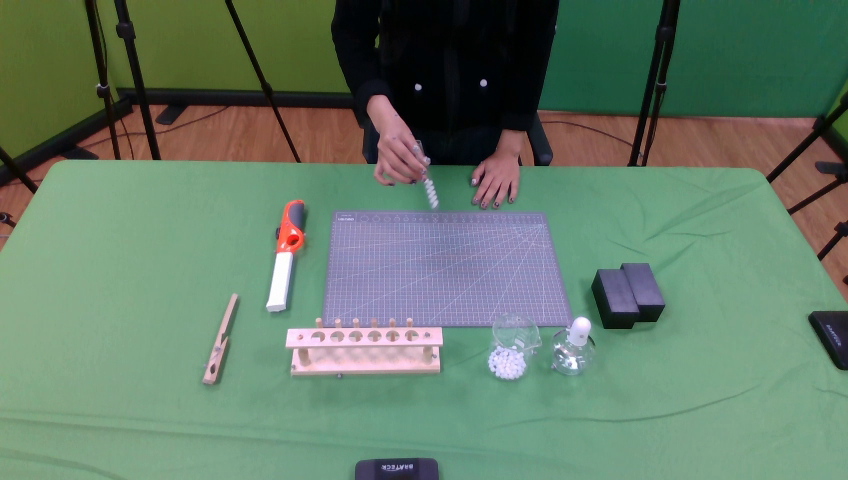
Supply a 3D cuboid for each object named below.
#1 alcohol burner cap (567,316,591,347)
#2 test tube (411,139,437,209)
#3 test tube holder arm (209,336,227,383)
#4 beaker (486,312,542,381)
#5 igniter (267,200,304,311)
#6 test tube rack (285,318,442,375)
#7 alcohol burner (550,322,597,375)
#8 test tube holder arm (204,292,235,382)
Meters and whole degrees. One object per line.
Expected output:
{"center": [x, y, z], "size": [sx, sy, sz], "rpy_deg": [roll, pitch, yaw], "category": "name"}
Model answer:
{"center": [0.249, 0.143, 0.965], "size": [0.034, 0.048, 0.033], "rpy_deg": [4, 40, -3], "category": "alcohol burner cap"}
{"center": [0.002, -0.114, 1.077], "size": [0.017, 0.151, 0.017], "rpy_deg": [-10, 41, 9], "category": "test tube"}
{"center": [-0.338, 0.193, 0.991], "size": [0.010, 0.015, 0.087], "rpy_deg": [28, 39, -26], "category": "test tube holder arm"}
{"center": [0.144, 0.177, 0.985], "size": [0.084, 0.101, 0.074], "rpy_deg": [22, 49, 16], "category": "beaker"}
{"center": [-0.263, 0.020, 1.156], "size": [0.057, 0.025, 0.274], "rpy_deg": [-6, 46, 4], "category": "igniter"}
{"center": [-0.095, 0.168, 0.986], "size": [0.242, 0.085, 0.066], "rpy_deg": [0, 46, -4], "category": "test tube rack"}
{"center": [0.248, 0.168, 0.991], "size": [0.078, 0.119, 0.077], "rpy_deg": [2, 48, -2], "category": "alcohol burner"}
{"center": [-0.343, 0.159, 1.020], "size": [0.013, 0.015, 0.177], "rpy_deg": [27, 39, -27], "category": "test tube holder arm"}
